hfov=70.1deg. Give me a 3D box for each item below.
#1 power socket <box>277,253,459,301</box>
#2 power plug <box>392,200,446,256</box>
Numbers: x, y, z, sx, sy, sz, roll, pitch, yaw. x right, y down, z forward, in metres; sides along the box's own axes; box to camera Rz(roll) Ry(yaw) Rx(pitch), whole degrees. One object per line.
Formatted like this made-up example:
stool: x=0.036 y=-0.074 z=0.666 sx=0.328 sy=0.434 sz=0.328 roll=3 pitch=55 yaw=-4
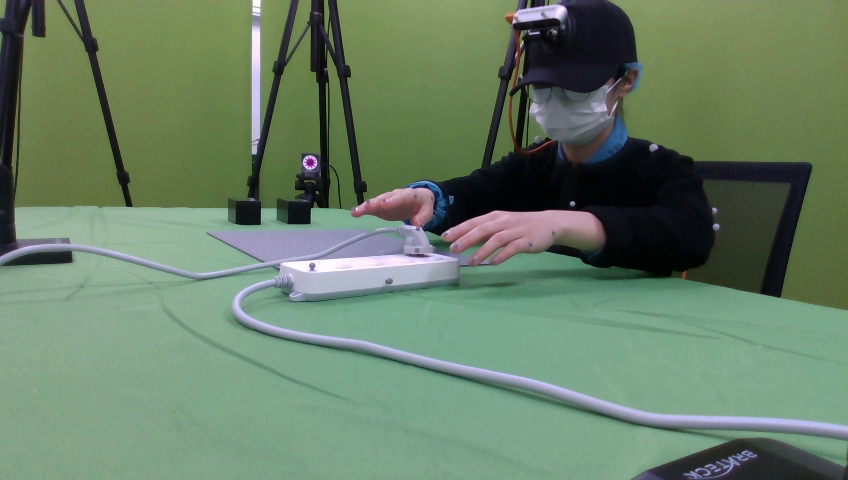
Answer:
power socket: x=-0.056 y=0.037 z=0.675 sx=0.228 sy=0.032 sz=0.072 roll=-3 pitch=8 yaw=-39
power plug: x=-0.007 y=-0.016 z=0.723 sx=0.053 sy=0.072 sz=0.035 roll=14 pitch=-9 yaw=-21
